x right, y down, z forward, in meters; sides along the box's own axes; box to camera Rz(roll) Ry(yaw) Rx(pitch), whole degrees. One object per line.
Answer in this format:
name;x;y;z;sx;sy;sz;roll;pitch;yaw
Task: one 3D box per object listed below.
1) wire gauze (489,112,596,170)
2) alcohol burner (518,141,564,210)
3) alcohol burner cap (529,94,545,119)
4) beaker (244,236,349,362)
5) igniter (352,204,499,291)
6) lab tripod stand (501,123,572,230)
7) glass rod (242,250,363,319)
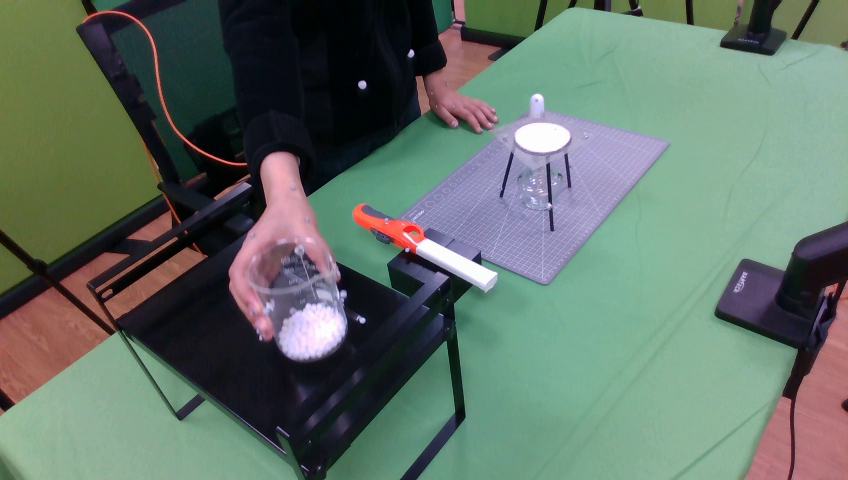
wire gauze;0.183;-0.161;0.942;0.122;0.011;0.124;-24;44;-18
alcohol burner;0.193;-0.110;1.001;0.078;0.119;0.077;-5;38;5
alcohol burner cap;0.233;-0.277;1.247;0.034;0.048;0.033;-5;41;5
beaker;-0.111;0.058;0.561;0.084;0.101;0.074;1;41;12
igniter;-0.009;0.005;0.895;0.274;0.025;0.057;27;48;32
lab tripod stand;0.194;-0.110;0.985;0.148;0.132;0.147;-3;41;3
glass rod;-0.141;0.046;0.673;0.198;0.008;0.008;24;49;32
